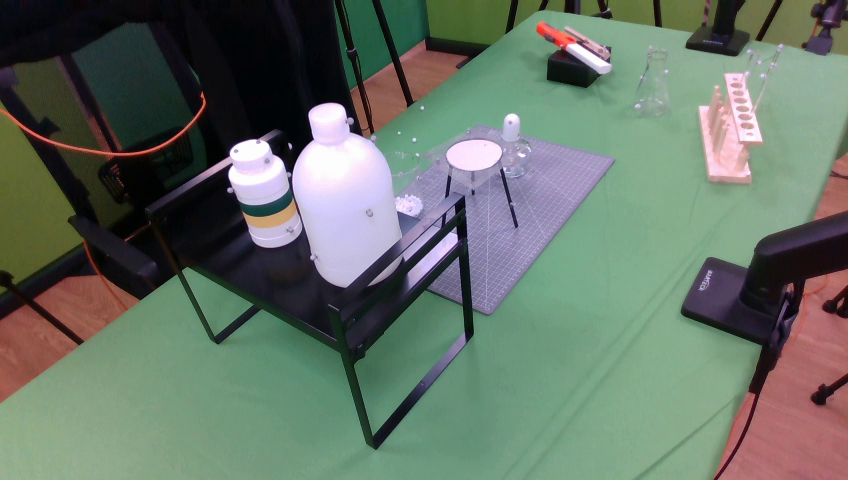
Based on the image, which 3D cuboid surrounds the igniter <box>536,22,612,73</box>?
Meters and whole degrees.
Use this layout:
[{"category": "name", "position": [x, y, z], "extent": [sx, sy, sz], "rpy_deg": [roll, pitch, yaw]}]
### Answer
[{"category": "igniter", "position": [0.330, -0.439, 1.366], "extent": [0.057, 0.025, 0.274], "rpy_deg": [-12, 41, -20]}]

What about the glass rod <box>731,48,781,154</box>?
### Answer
[{"category": "glass rod", "position": [0.554, -0.228, 1.014], "extent": [0.008, 0.200, 0.008], "rpy_deg": [1, 44, 0]}]

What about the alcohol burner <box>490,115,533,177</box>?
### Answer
[{"category": "alcohol burner", "position": [0.157, -0.173, 1.083], "extent": [0.078, 0.119, 0.077], "rpy_deg": [-4, 43, 4]}]

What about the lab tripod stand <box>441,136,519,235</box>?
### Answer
[{"category": "lab tripod stand", "position": [0.083, -0.086, 0.976], "extent": [0.148, 0.132, 0.147], "rpy_deg": [-4, 42, 4]}]

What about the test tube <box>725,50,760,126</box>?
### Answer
[{"category": "test tube", "position": [0.570, -0.269, 1.086], "extent": [0.017, 0.151, 0.017], "rpy_deg": [-1, 45, 2]}]

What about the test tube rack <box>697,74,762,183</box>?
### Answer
[{"category": "test tube rack", "position": [0.547, -0.208, 1.095], "extent": [0.066, 0.085, 0.242], "rpy_deg": [5, 42, 15]}]

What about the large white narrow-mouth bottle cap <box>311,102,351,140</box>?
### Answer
[{"category": "large white narrow-mouth bottle cap", "position": [-0.089, -0.114, 0.579], "extent": [0.038, 0.024, 0.037], "rpy_deg": [-3, 40, 3]}]

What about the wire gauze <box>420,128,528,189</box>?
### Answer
[{"category": "wire gauze", "position": [0.076, -0.132, 0.926], "extent": [0.122, 0.011, 0.124], "rpy_deg": [-34, 47, -26]}]

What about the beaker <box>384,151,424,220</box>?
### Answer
[{"category": "beaker", "position": [-0.038, -0.092, 1.026], "extent": [0.074, 0.101, 0.083], "rpy_deg": [2, 41, 10]}]

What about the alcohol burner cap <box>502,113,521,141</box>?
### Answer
[{"category": "alcohol burner cap", "position": [0.155, -0.200, 1.058], "extent": [0.034, 0.048, 0.033], "rpy_deg": [-1, 50, 2]}]

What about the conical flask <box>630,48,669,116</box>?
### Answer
[{"category": "conical flask", "position": [0.456, -0.317, 1.205], "extent": [0.075, 0.122, 0.075], "rpy_deg": [-4, 41, 4]}]

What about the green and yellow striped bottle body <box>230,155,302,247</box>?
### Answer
[{"category": "green and yellow striped bottle body", "position": [-0.188, -0.055, 0.714], "extent": [0.063, 0.120, 0.063], "rpy_deg": [-4, 41, 4]}]

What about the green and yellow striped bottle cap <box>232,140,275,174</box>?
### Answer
[{"category": "green and yellow striped bottle cap", "position": [-0.192, -0.094, 0.680], "extent": [0.045, 0.020, 0.045], "rpy_deg": [-5, 39, 5]}]

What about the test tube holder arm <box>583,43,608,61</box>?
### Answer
[{"category": "test tube holder arm", "position": [0.379, -0.420, 1.341], "extent": [0.010, 0.015, 0.087], "rpy_deg": [-39, 41, 10]}]

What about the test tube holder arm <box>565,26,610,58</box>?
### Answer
[{"category": "test tube holder arm", "position": [0.369, -0.451, 1.373], "extent": [0.013, 0.015, 0.177], "rpy_deg": [-39, 41, 10]}]

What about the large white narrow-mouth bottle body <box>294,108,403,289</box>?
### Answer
[{"category": "large white narrow-mouth bottle body", "position": [-0.082, -0.047, 0.634], "extent": [0.102, 0.195, 0.101], "rpy_deg": [-4, 40, 3]}]
